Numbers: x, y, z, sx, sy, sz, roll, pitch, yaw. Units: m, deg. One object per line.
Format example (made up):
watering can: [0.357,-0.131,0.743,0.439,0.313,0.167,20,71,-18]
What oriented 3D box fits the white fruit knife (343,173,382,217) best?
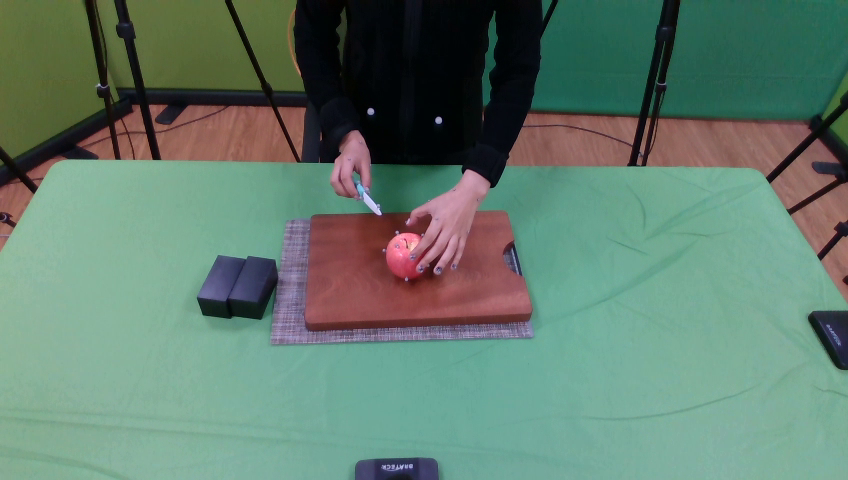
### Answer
white fruit knife: [-0.111,-0.083,1.087,0.016,0.027,0.206,-15,29,-19]

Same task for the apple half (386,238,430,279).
apple half: [-0.032,0.039,1.084,0.081,0.075,0.053,11,50,1]

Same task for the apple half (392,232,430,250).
apple half: [-0.025,0.010,1.110,0.081,0.081,0.032,8,50,4]
